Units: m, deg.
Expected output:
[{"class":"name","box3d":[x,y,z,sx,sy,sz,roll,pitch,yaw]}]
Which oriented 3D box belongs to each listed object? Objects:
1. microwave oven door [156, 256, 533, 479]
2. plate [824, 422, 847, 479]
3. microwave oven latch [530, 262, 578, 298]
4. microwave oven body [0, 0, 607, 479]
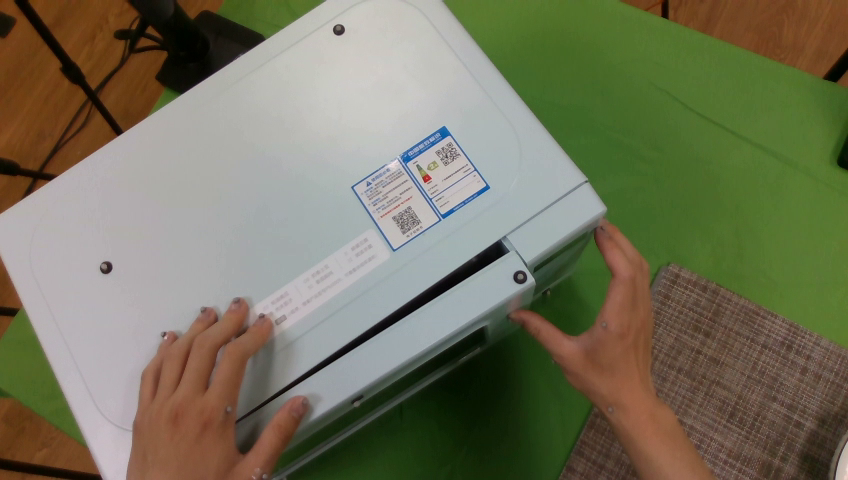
[{"class":"microwave oven door","box3d":[-0.059,0.141,0.565,0.356,0.245,0.039,-32,73,-2]},{"class":"plate","box3d":[0.497,0.255,0.590,0.207,0.039,0.206,-2,75,6]},{"class":"microwave oven latch","box3d":[0.132,0.039,0.674,0.079,0.029,0.030,-33,74,-1]},{"class":"microwave oven body","box3d":[-0.108,-0.003,0.613,0.442,0.261,0.324,-34,75,-2]}]
